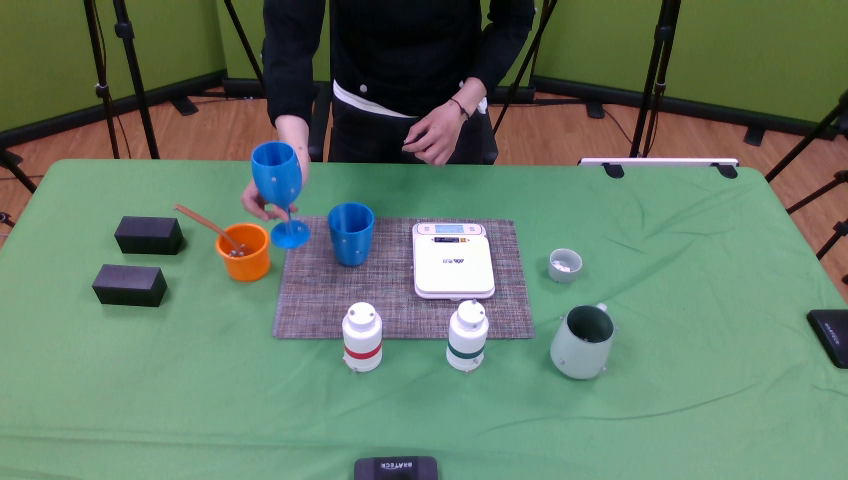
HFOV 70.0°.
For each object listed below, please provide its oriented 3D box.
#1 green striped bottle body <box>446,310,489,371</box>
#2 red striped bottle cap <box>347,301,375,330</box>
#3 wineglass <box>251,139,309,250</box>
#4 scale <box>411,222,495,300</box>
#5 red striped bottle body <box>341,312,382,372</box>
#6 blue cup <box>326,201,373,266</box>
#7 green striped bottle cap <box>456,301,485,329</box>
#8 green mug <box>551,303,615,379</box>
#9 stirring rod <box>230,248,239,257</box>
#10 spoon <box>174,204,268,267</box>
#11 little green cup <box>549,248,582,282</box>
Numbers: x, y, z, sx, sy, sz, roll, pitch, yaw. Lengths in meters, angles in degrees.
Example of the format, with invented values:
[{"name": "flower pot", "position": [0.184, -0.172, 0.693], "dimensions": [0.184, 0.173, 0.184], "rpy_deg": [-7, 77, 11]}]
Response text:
[{"name": "green striped bottle body", "position": [0.070, 0.155, 0.984], "dimensions": [0.063, 0.120, 0.063], "rpy_deg": [2, 46, -2]}, {"name": "red striped bottle cap", "position": [-0.097, 0.116, 0.934], "dimensions": [0.044, 0.018, 0.044], "rpy_deg": [3, 49, -3]}, {"name": "wineglass", "position": [-0.222, -0.070, 0.946], "dimensions": [0.074, 0.173, 0.073], "rpy_deg": [1, 46, 0]}, {"name": "scale", "position": [0.052, 0.031, 1.158], "dimensions": [0.149, 0.032, 0.199], "rpy_deg": [1, 46, -4]}, {"name": "red striped bottle body", "position": [-0.100, 0.154, 0.972], "dimensions": [0.063, 0.120, 0.062], "rpy_deg": [2, 46, -1]}, {"name": "blue cup", "position": [-0.138, -0.006, 1.131], "dimensions": [0.093, 0.101, 0.092], "rpy_deg": [3, 45, -3]}, {"name": "green striped bottle cap", "position": [0.073, 0.116, 0.943], "dimensions": [0.044, 0.020, 0.044], "rpy_deg": [3, 46, -3]}, {"name": "green mug", "position": [0.271, 0.157, 1.007], "dimensions": [0.092, 0.105, 0.125], "rpy_deg": [27, 50, 21]}, {"name": "stirring rod", "position": [-0.330, 0.023, 1.059], "dimensions": [0.014, 0.176, 0.006], "rpy_deg": [33, 79, -12]}, {"name": "spoon", "position": [-0.363, -0.009, 1.090], "dimensions": [0.021, 0.195, 0.041], "rpy_deg": [-34, 31, 24]}, {"name": "little green cup", "position": [0.268, 0.050, 1.156], "dimensions": [0.061, 0.039, 0.061], "rpy_deg": [1, 46, -1]}]
